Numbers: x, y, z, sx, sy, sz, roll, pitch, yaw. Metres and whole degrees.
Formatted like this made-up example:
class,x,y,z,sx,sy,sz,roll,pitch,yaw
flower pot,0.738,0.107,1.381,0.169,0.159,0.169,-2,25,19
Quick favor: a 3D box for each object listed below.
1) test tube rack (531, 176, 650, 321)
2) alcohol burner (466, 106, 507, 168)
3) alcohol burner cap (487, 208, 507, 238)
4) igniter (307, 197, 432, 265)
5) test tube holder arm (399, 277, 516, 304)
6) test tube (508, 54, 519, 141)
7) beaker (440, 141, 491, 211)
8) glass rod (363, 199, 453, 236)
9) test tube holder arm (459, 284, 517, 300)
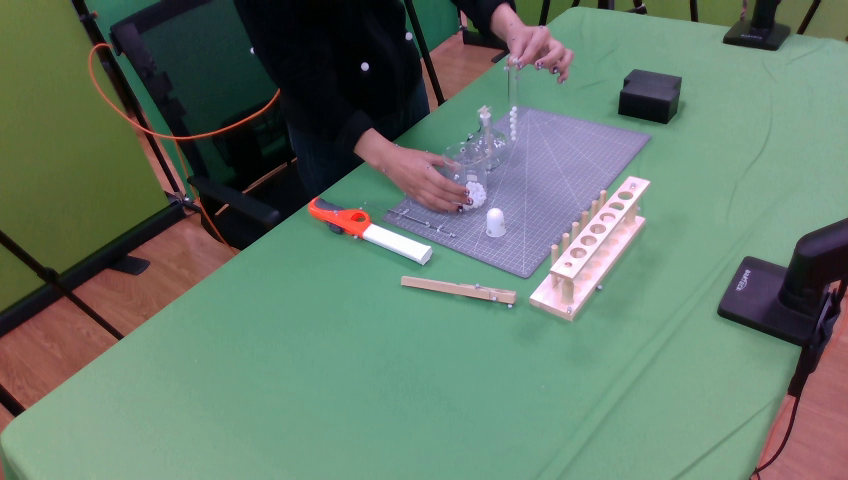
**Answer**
class,x,y,z,sx,sy,sz,roll,pitch,yaw
test tube rack,0.246,0.002,0.884,0.066,0.085,0.243,22,49,32
alcohol burner,0.114,-0.193,1.112,0.078,0.119,0.077,-4,41,4
alcohol burner cap,0.116,-0.030,0.975,0.034,0.048,0.033,-6,40,5
igniter,-0.102,-0.020,1.019,0.274,0.025,0.057,23,60,32
test tube holder arm,0.047,0.073,0.886,0.177,0.015,0.013,7,9,19
test tube,0.144,-0.226,0.973,0.017,0.151,0.017,-4,41,4
beaker,0.074,-0.107,1.028,0.084,0.101,0.073,-1,41,9
glass rod,-0.031,-0.041,1.042,0.198,0.008,0.008,22,50,32
test tube holder arm,0.091,0.078,0.877,0.087,0.015,0.010,7,9,20
